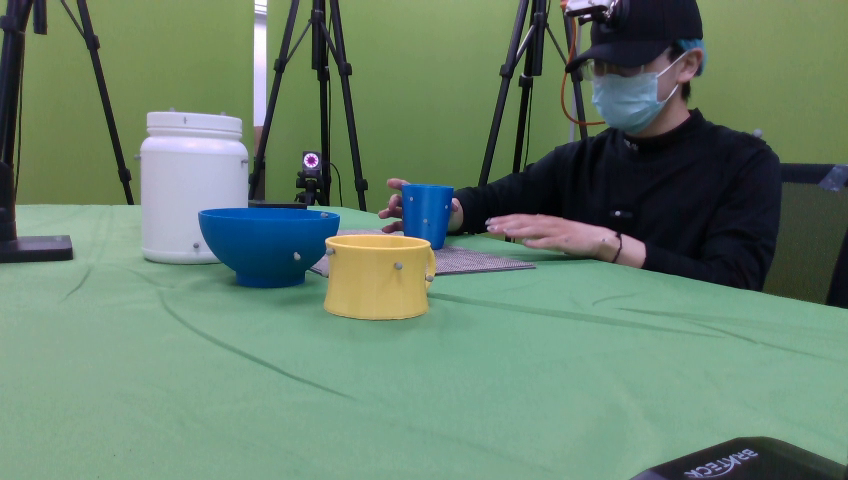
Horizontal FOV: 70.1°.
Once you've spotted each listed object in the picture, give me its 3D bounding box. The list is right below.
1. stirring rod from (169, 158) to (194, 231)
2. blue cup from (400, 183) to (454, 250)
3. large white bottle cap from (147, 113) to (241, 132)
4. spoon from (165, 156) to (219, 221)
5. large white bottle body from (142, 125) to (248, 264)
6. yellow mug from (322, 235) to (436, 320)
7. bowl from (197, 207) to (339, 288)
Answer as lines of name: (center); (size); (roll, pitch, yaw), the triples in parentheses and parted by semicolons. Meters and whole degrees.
stirring rod: (-0.424, -0.082, 1.060); (0.014, 0.006, 0.175); (2, 50, -10)
blue cup: (0.002, -0.038, 0.965); (0.093, 0.100, 0.092); (3, 7, 0)
large white bottle cap: (-0.297, -0.151, 0.786); (0.115, 0.018, 0.115); (2, 7, 0)
spoon: (-0.451, -0.105, 1.193); (0.041, 0.022, 0.193); (5, 51, 17)
large white bottle body: (-0.300, -0.068, 0.797); (0.131, 0.184, 0.130); (2, 7, 0)
yellow mug: (-0.034, 0.031, 0.581); (0.099, 0.064, 0.131); (8, 8, 42)
bowl: (-0.171, 0.008, 0.671); (0.151, 0.077, 0.151); (2, 7, 0)
